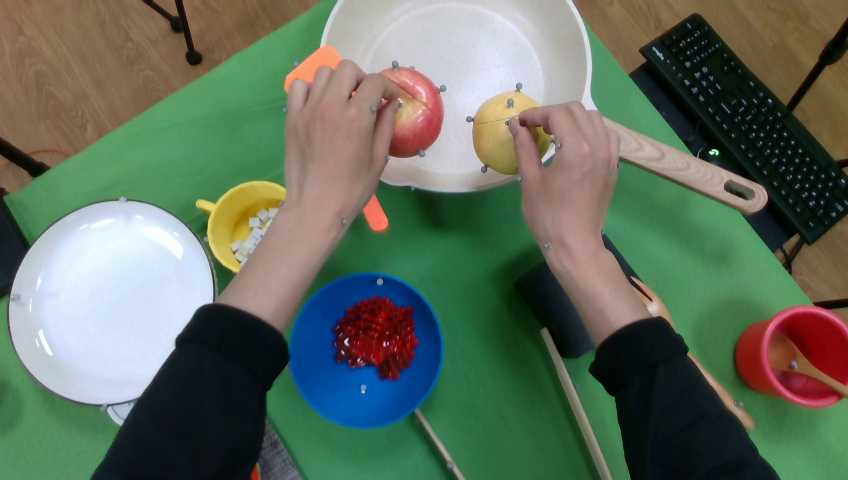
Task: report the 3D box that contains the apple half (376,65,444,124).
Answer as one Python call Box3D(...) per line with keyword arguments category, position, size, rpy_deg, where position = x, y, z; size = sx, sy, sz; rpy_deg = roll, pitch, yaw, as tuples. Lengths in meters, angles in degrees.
Box3D(category="apple half", position=(-0.007, -0.141, 0.575), size=(0.081, 0.081, 0.033), rpy_deg=(35, 86, 7))

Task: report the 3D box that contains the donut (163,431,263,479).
Box3D(category="donut", position=(-0.212, 0.242, 0.608), size=(0.099, 0.048, 0.098), rpy_deg=(0, 81, 2))

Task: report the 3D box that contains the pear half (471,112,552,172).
Box3D(category="pear half", position=(0.086, -0.094, 0.571), size=(0.076, 0.110, 0.056), rpy_deg=(-13, 93, 3))

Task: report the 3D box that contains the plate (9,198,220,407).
Box3D(category="plate", position=(-0.309, 0.062, 0.620), size=(0.209, 0.038, 0.208), rpy_deg=(0, 79, 0))

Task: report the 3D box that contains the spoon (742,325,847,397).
Box3D(category="spoon", position=(0.393, 0.140, 0.577), size=(0.041, 0.022, 0.191), rpy_deg=(-38, 36, -7))

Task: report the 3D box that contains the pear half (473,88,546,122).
Box3D(category="pear half", position=(0.079, -0.129, 0.581), size=(0.070, 0.088, 0.031), rpy_deg=(-14, 93, 3))

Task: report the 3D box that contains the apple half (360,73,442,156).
Box3D(category="apple half", position=(-0.028, -0.109, 0.571), size=(0.081, 0.075, 0.053), rpy_deg=(36, 86, 1))

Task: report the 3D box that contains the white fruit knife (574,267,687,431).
Box3D(category="white fruit knife", position=(0.209, 0.112, 0.616), size=(0.016, 0.027, 0.208), rpy_deg=(-36, 95, -6))

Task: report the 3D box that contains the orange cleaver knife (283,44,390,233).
Box3D(category="orange cleaver knife", position=(-0.074, -0.109, 0.629), size=(0.077, 0.012, 0.210), rpy_deg=(-29, 81, -2))

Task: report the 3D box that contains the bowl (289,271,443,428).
Box3D(category="bowl", position=(-0.055, 0.111, 0.619), size=(0.151, 0.077, 0.150), rpy_deg=(0, 80, 0))

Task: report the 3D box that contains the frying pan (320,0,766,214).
Box3D(category="frying pan", position=(0.122, -0.140, 0.652), size=(0.485, 0.103, 0.306), rpy_deg=(28, 81, 14))

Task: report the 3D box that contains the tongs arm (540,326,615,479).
Box3D(category="tongs arm", position=(0.188, 0.271, 0.612), size=(0.028, 0.028, 0.386), rpy_deg=(-17, 80, -11))

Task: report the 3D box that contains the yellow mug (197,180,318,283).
Box3D(category="yellow mug", position=(-0.184, -0.013, 0.649), size=(0.130, 0.064, 0.099), rpy_deg=(23, 81, 6))

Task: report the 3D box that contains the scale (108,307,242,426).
Box3D(category="scale", position=(-0.301, 0.081, 0.650), size=(0.149, 0.031, 0.200), rpy_deg=(-29, 81, -5))

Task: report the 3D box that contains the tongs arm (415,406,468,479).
Box3D(category="tongs arm", position=(0.113, 0.311, 0.602), size=(0.051, 0.026, 0.383), rpy_deg=(-33, 81, -10))

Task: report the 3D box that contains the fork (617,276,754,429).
Box3D(category="fork", position=(0.272, 0.118, 0.622), size=(0.028, 0.018, 0.208), rpy_deg=(-43, 97, -8))
